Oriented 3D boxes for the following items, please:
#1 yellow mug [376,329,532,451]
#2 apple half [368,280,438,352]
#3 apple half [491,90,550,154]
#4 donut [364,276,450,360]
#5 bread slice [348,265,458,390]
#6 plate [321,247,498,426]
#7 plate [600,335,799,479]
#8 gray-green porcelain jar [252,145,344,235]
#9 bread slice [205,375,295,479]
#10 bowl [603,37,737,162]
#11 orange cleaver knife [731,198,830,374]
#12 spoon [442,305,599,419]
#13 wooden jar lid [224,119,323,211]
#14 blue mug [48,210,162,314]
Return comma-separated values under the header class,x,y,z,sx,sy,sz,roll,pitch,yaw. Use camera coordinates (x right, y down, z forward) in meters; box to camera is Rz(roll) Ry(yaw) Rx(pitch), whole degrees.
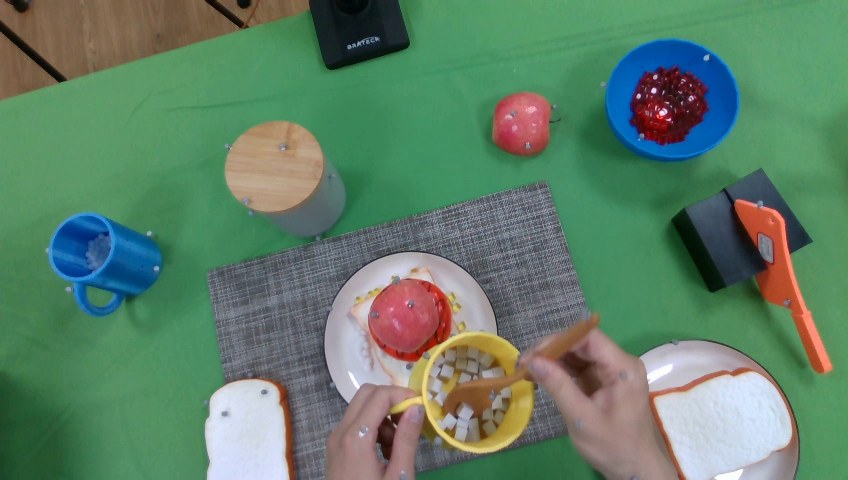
class,x,y,z,sx,sy,sz,roll,pitch,yaw
yellow mug,0.023,0.137,0.534,0.131,0.064,0.099,-9,73,-15
apple half,-0.025,0.082,0.660,0.081,0.033,0.081,-3,75,12
apple half,0.121,-0.154,0.762,0.074,0.053,0.080,6,78,9
donut,-0.019,0.090,0.696,0.099,0.048,0.098,-1,78,6
bread slice,-0.012,0.109,0.720,0.107,0.018,0.133,-31,76,-2
plate,-0.017,0.112,0.719,0.207,0.039,0.206,-1,78,5
plate,0.299,0.212,0.672,0.209,0.038,0.208,-1,77,5
gray-green porcelain jar,-0.157,-0.066,0.730,0.106,0.127,0.105,-1,77,5
bread slice,-0.212,0.229,0.722,0.105,0.019,0.131,-7,79,2
bowl,0.287,-0.157,0.735,0.151,0.077,0.150,-1,78,5
orange cleaver knife,0.396,0.050,0.677,0.012,0.077,0.212,-25,98,-8
spoon,0.075,0.104,0.491,0.042,0.194,0.021,29,46,-16
wooden jar lid,-0.164,-0.081,0.668,0.108,0.021,0.108,-1,75,3
blue mug,-0.389,0.033,0.739,0.082,0.106,0.116,5,78,6
